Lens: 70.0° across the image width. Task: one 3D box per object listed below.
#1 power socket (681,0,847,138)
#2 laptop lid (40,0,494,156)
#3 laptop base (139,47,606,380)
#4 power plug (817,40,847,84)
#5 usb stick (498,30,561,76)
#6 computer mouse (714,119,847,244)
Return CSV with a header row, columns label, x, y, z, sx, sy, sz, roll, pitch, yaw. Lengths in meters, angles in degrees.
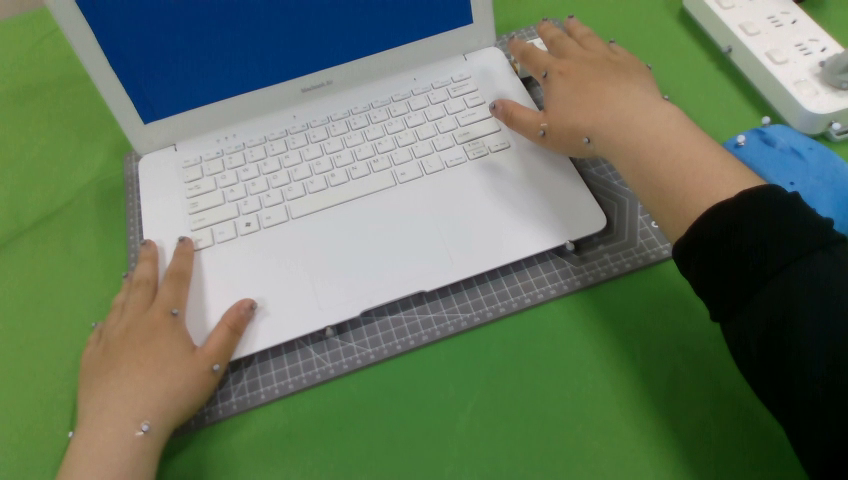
label,x,y,z,sx,sy,sz,roll,pitch,yaw
power socket,0.312,-0.181,0.545,0.072,0.033,0.224,-16,55,-3
laptop lid,-0.119,-0.215,0.497,0.357,0.244,0.013,-20,43,-4
laptop base,-0.059,-0.041,0.514,0.354,0.023,0.233,-19,58,-6
power plug,0.357,-0.144,0.488,0.072,0.053,0.035,-7,58,2
usb stick,0.096,-0.172,0.563,0.059,0.027,0.021,-20,56,-1
computer mouse,0.278,-0.051,0.459,0.063,0.041,0.116,-19,51,-3
